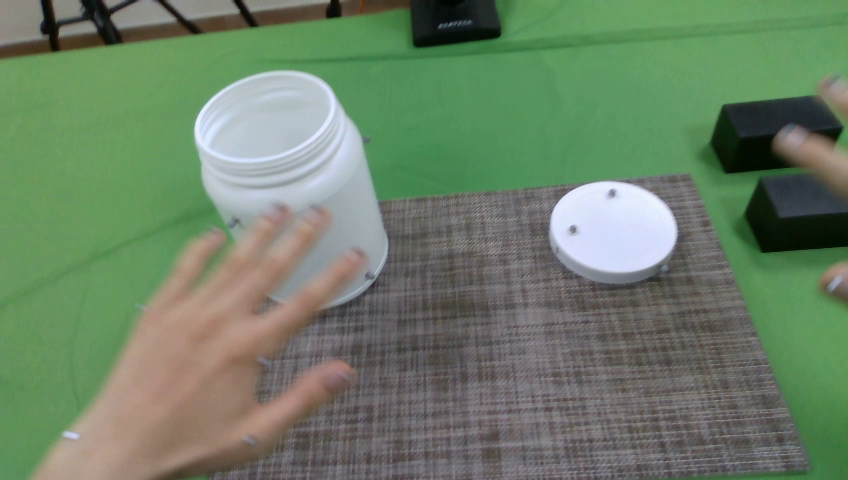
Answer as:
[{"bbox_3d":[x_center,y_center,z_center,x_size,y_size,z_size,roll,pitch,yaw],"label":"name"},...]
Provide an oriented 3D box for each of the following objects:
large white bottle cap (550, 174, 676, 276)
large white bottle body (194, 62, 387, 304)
[{"bbox_3d":[0.178,-0.017,0.573,0.115,0.018,0.113,-3,52,4],"label":"large white bottle cap"},{"bbox_3d":[-0.109,-0.045,0.524,0.130,0.186,0.129,-4,51,5],"label":"large white bottle body"}]
